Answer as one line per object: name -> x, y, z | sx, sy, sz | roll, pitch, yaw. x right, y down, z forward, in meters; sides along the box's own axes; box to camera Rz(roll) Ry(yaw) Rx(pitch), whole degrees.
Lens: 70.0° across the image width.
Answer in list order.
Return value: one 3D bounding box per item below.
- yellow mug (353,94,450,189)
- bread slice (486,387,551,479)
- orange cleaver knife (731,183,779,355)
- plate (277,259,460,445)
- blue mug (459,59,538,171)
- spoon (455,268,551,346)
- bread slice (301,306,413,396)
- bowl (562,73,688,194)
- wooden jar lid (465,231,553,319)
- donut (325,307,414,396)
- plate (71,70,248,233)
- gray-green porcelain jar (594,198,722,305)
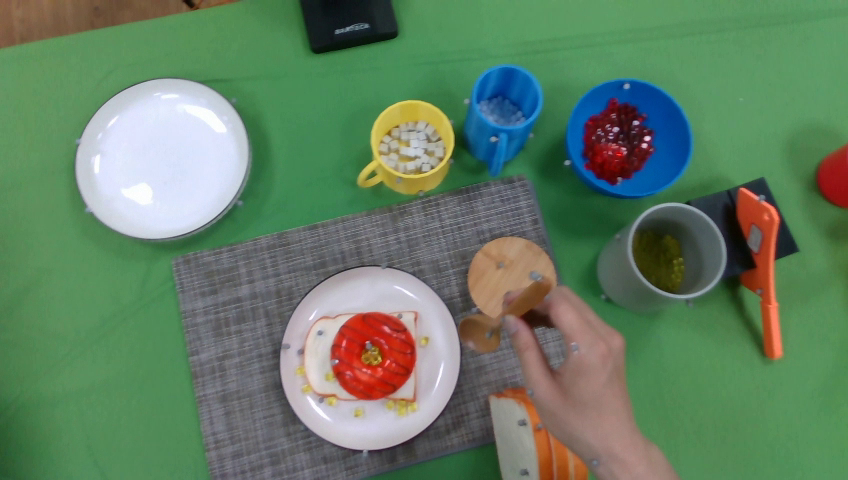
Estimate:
yellow mug -> -0.032, -0.111, 0.745 | 0.131, 0.064, 0.099 | -35, 80, -8
bread slice -> 0.100, 0.209, 0.647 | 0.018, 0.134, 0.106 | -6, 76, -13
orange cleaver knife -> 0.396, 0.036, 0.726 | 0.012, 0.076, 0.212 | -16, 108, -5
plate -> -0.063, 0.126, 0.702 | 0.209, 0.038, 0.208 | 1, 77, -3
blue mug -> 0.087, -0.142, 0.738 | 0.082, 0.106, 0.116 | 6, 77, -1
spoon -> 0.062, 0.058, 0.487 | 0.041, 0.194, 0.021 | 39, 70, 3
bread slice -> -0.077, 0.129, 0.704 | 0.132, 0.019, 0.104 | 0, 76, -6
bowl -> 0.238, -0.121, 0.755 | 0.151, 0.077, 0.150 | 1, 78, -2
wooden jar lid -> 0.103, 0.043, 0.738 | 0.108, 0.021, 0.108 | 1, 78, -3
donut -> -0.060, 0.123, 0.674 | 0.099, 0.048, 0.098 | 1, 79, -6
plate -> -0.319, -0.106, 0.744 | 0.208, 0.039, 0.206 | 1, 78, -3
gray-green porcelain jar -> 0.261, 0.019, 0.700 | 0.106, 0.127, 0.105 | 1, 77, -3
